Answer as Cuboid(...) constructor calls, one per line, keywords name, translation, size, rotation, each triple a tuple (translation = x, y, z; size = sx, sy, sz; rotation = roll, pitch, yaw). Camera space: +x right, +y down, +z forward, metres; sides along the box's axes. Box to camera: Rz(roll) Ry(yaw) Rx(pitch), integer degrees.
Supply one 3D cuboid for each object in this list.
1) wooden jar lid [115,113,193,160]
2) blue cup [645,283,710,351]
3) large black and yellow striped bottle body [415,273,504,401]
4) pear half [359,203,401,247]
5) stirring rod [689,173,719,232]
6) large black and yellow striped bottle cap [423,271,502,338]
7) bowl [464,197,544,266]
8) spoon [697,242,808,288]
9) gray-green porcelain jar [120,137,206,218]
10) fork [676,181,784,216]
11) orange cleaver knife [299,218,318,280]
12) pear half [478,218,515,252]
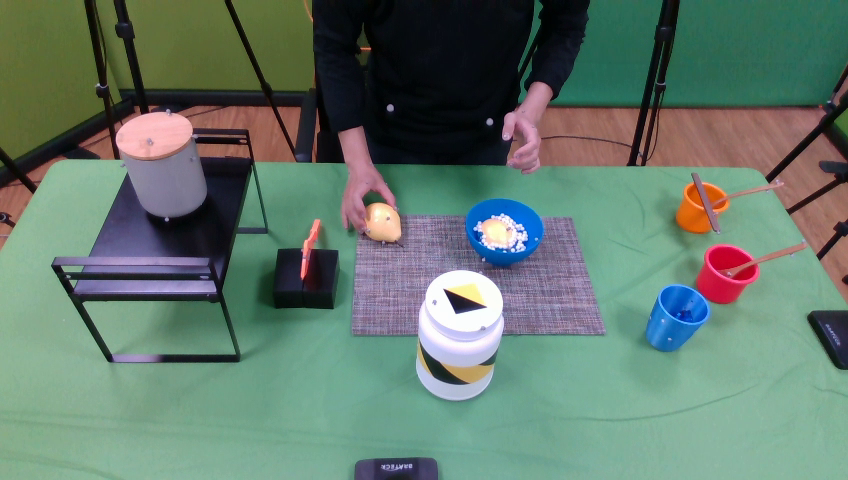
Cuboid(name="wooden jar lid", translation=(-0.399, -0.151, 0.900), size=(0.108, 0.021, 0.107), rotation=(3, 46, -3))
Cuboid(name="blue cup", translation=(0.426, 0.139, 1.041), size=(0.093, 0.100, 0.092), rotation=(4, 46, -4))
Cuboid(name="large black and yellow striped bottle body", translation=(0.054, 0.150, 0.943), size=(0.131, 0.185, 0.130), rotation=(2, 46, -2))
Cuboid(name="pear half", translation=(-0.078, -0.030, 1.190), size=(0.076, 0.056, 0.109), rotation=(-36, 64, -25))
Cuboid(name="stirring rod", translation=(0.566, -0.079, 1.225), size=(0.014, 0.006, 0.175), rotation=(2, 45, 2))
Cuboid(name="large black and yellow striped bottle cap", translation=(0.057, 0.092, 0.883), size=(0.115, 0.019, 0.114), rotation=(3, 45, -3))
Cuboid(name="bowl", translation=(0.149, -0.004, 1.167), size=(0.151, 0.077, 0.150), rotation=(2, 46, -2))
Cuboid(name="spoon", translation=(0.601, 0.045, 1.116), size=(0.194, 0.022, 0.041), rotation=(-29, 34, 30))
Cuboid(name="gray-green porcelain jar", translation=(-0.403, -0.106, 0.946), size=(0.106, 0.127, 0.105), rotation=(3, 46, -2))
Cuboid(name="fork", translation=(0.618, -0.083, 1.235), size=(0.207, 0.019, 0.028), rotation=(-23, 21, 38))
Cuboid(name="orange cleaver knife", translation=(-0.214, 0.013, 1.125), size=(0.012, 0.077, 0.210), rotation=(6, 17, -5))
Cuboid(name="pear half", translation=(0.144, -0.013, 1.167), size=(0.070, 0.031, 0.087), rotation=(-21, 55, -20))
